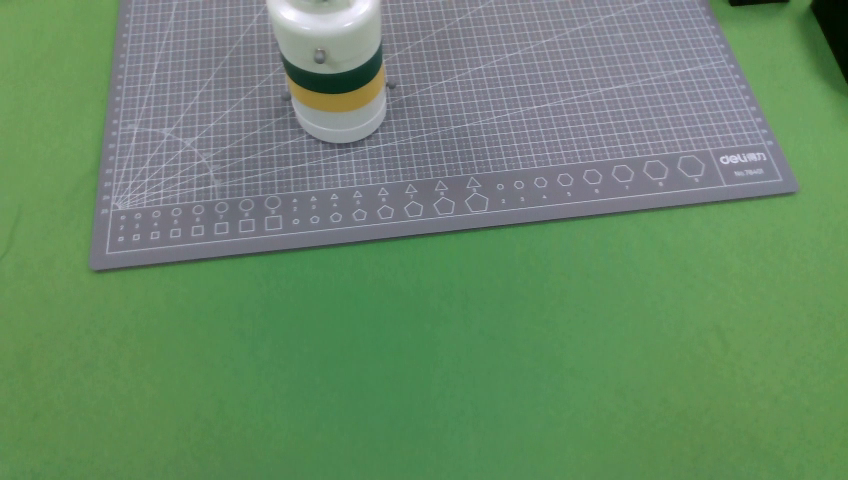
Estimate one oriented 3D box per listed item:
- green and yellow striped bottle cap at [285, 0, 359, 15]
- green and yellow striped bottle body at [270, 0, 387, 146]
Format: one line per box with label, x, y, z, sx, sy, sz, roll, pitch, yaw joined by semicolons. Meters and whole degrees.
green and yellow striped bottle cap;-0.054;-0.140;0.318;0.045;0.020;0.045;1;60;-1
green and yellow striped bottle body;-0.055;-0.116;0.365;0.063;0.120;0.062;1;62;-1
